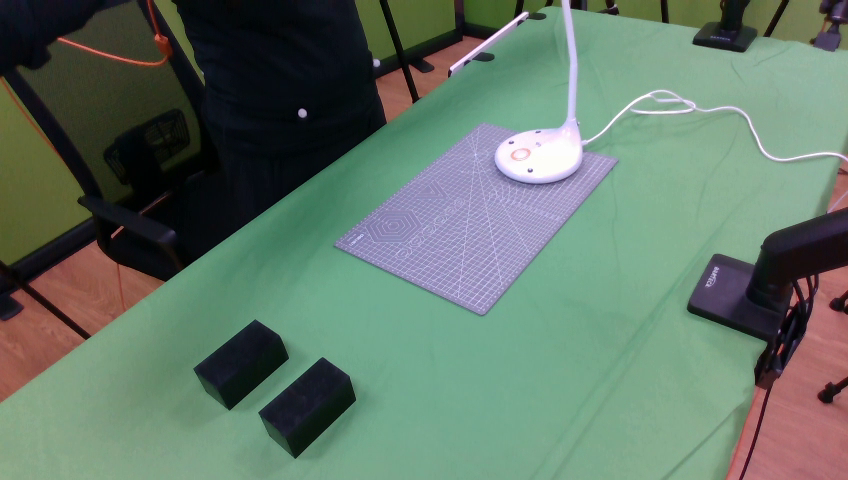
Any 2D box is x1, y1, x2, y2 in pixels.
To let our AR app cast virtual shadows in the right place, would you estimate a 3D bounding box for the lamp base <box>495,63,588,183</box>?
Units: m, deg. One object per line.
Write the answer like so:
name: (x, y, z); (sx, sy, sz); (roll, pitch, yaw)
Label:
lamp base: (0.214, -0.217, 1.067); (0.180, 0.181, 0.159); (-20, 42, -18)
